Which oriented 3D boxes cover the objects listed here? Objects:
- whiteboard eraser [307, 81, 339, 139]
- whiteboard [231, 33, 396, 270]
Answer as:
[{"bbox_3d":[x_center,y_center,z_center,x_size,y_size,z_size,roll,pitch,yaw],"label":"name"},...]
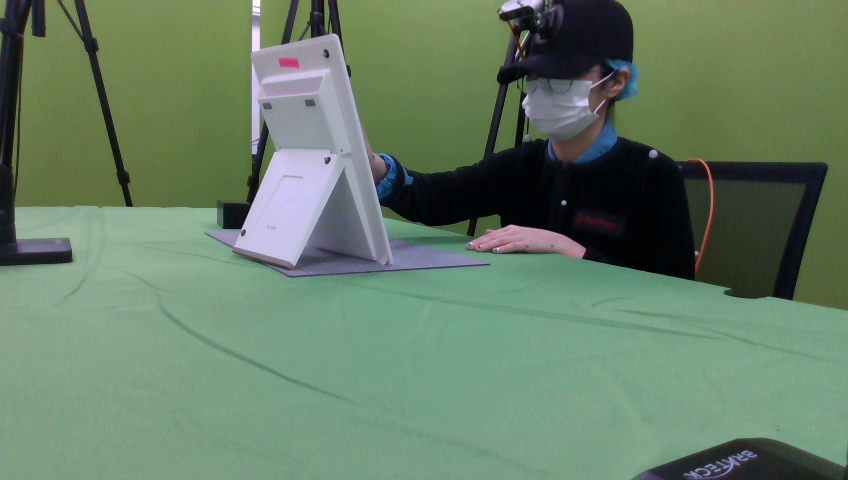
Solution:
[{"bbox_3d":[-0.142,-0.181,0.849,0.019,0.041,0.101,-35,-15,-31],"label":"whiteboard eraser"},{"bbox_3d":[-0.193,-0.094,0.805,0.144,0.305,0.216,-29,25,-35],"label":"whiteboard"}]
